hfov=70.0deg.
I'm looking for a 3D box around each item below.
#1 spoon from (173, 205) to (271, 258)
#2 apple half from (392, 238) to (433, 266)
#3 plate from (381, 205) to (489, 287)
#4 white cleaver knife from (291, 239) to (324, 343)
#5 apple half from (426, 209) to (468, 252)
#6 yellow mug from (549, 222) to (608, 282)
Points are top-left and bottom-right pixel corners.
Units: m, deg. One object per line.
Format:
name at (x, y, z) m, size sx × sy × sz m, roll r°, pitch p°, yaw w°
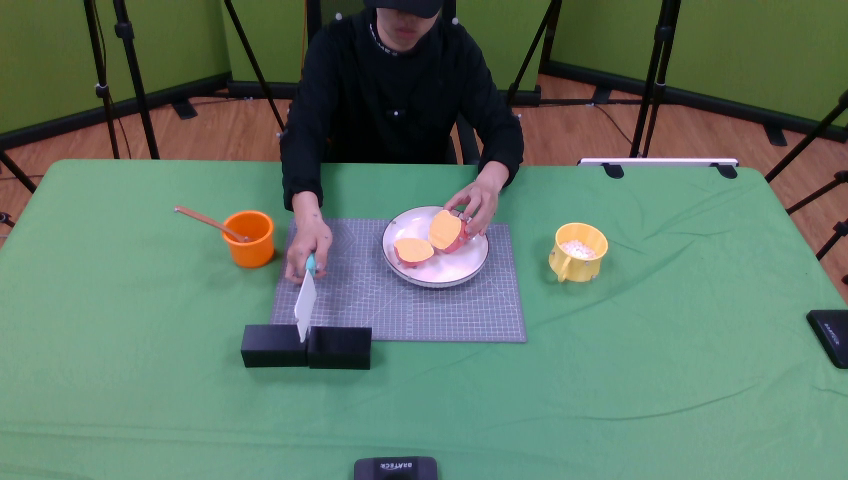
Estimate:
spoon at (-0.362, -0.017, 1.098) m, size 0.021 × 0.195 × 0.041 m, roll -32°, pitch 42°, yaw 27°
apple half at (-0.023, 0.028, 1.147) m, size 0.081 × 0.033 × 0.081 m, roll 8°, pitch 33°, yaw -5°
plate at (0.021, 0.015, 1.170) m, size 0.209 × 0.038 × 0.208 m, roll 2°, pitch 46°, yaw -2°
white cleaver knife at (-0.196, 0.077, 1.025) m, size 0.021 × 0.066 × 0.285 m, roll -6°, pitch 25°, yaw 2°
apple half at (0.049, -0.014, 1.168) m, size 0.080 × 0.053 × 0.074 m, roll 30°, pitch 93°, yaw 40°
yellow mug at (0.287, 0.031, 1.159) m, size 0.099 × 0.064 × 0.130 m, roll 27°, pitch 51°, yaw 21°
